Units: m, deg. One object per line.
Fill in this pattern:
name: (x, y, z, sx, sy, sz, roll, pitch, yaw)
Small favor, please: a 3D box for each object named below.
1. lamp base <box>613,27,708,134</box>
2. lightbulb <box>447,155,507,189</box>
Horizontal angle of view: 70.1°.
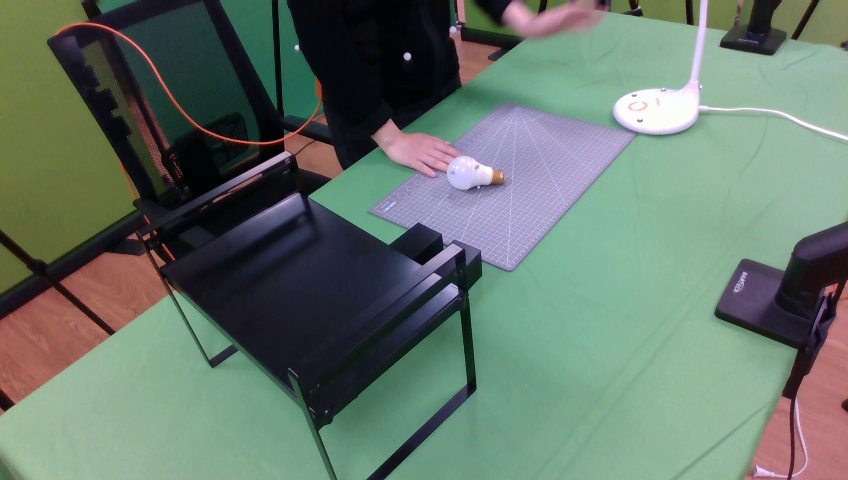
lamp base: (0.463, -0.316, 1.153, 0.179, 0.181, 0.159, -5, 41, -1)
lightbulb: (0.094, -0.118, 1.074, 0.108, 0.059, 0.059, 7, 40, -7)
